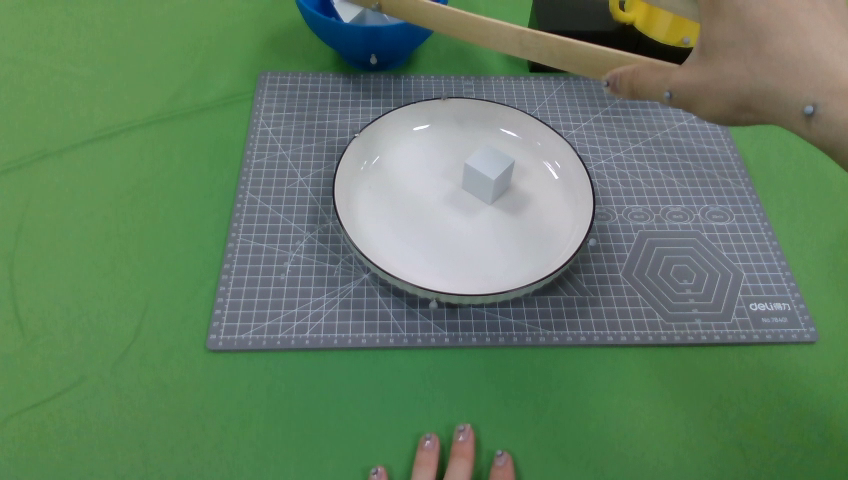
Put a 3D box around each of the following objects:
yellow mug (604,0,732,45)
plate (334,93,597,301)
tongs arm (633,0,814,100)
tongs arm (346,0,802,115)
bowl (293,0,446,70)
[{"bbox_3d":[0.231,-0.238,0.571,0.131,0.064,0.099,-14,56,-11],"label":"yellow mug"},{"bbox_3d":[0.033,-0.036,0.493,0.208,0.039,0.205,1,55,-2],"label":"plate"},{"bbox_3d":[0.102,-0.196,0.453,0.050,0.027,0.381,-42,54,-16],"label":"tongs arm"},{"bbox_3d":[0.058,-0.154,0.437,0.384,0.028,0.028,28,62,32],"label":"tongs arm"},{"bbox_3d":[-0.052,-0.224,0.599,0.151,0.077,0.150,1,54,-2],"label":"bowl"}]
